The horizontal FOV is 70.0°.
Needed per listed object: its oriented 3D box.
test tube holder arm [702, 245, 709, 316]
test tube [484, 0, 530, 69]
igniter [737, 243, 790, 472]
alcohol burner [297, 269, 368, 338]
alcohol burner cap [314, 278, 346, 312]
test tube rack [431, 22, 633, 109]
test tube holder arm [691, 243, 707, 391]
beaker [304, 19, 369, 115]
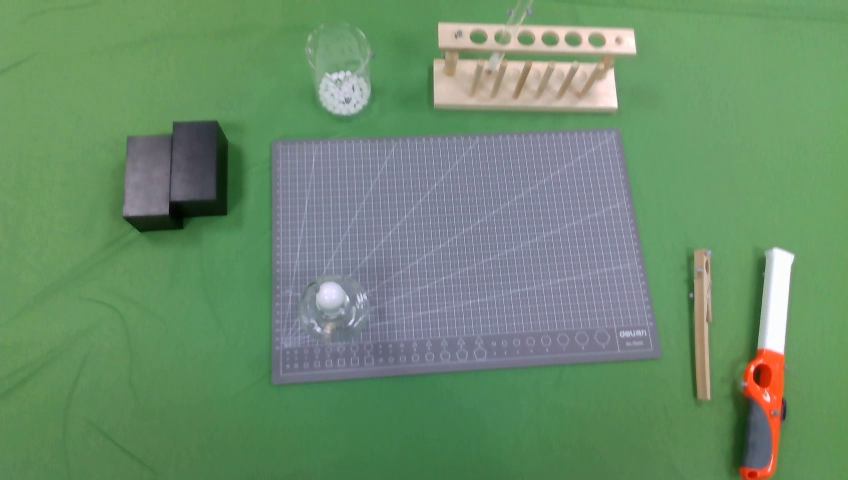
[{"bbox_3d":[0.339,0.049,0.740,0.010,0.015,0.087,18,70,-30],"label":"test tube holder arm"},{"bbox_3d":[0.098,-0.250,0.727,0.017,0.150,0.017,3,73,-10],"label":"test tube"},{"bbox_3d":[0.402,0.134,0.712,0.057,0.025,0.275,19,72,-9],"label":"igniter"},{"bbox_3d":[-0.099,0.064,0.649,0.078,0.119,0.077,2,71,-5],"label":"alcohol burner"},{"bbox_3d":[-0.097,0.055,0.614,0.034,0.048,0.033,1,77,-5],"label":"alcohol burner cap"},{"bbox_3d":[0.133,-0.220,0.772,0.243,0.085,0.066,1,73,-4],"label":"test tube rack"},{"bbox_3d":[0.329,0.090,0.724,0.013,0.015,0.177,18,71,-30],"label":"test tube holder arm"},{"bbox_3d":[-0.104,-0.204,0.742,0.074,0.100,0.083,0,73,-4],"label":"beaker"}]
